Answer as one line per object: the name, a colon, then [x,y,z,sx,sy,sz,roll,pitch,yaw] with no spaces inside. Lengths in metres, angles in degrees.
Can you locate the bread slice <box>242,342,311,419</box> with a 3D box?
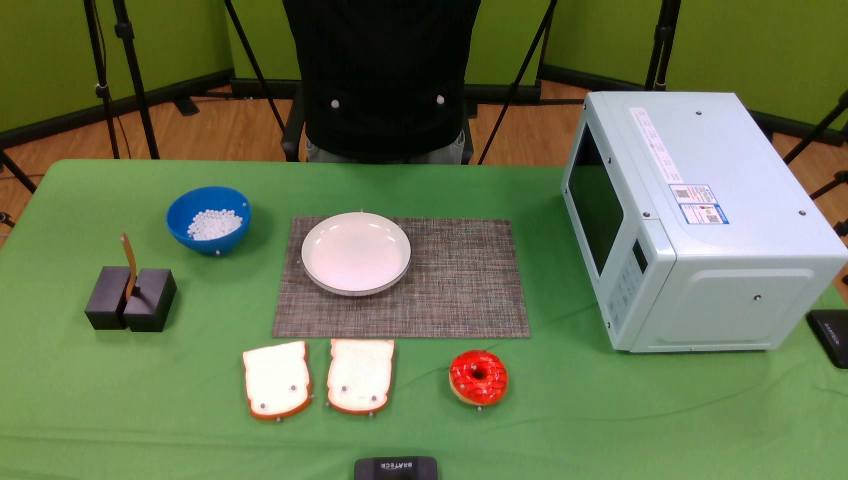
bread slice: [-0.234,0.223,0.970,0.105,0.019,0.130,-10,46,-13]

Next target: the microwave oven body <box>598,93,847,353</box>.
microwave oven body: [0.475,-0.041,1.110,0.326,0.261,0.438,-1,45,-4]

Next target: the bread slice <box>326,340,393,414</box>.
bread slice: [-0.104,0.219,0.983,0.107,0.018,0.133,0,45,-4]

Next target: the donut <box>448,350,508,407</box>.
donut: [0.087,0.223,0.977,0.099,0.048,0.098,4,46,-4]

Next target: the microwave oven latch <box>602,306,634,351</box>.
microwave oven latch: [0.332,0.153,1.044,0.030,0.029,0.078,0,45,-4]

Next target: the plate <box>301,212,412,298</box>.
plate: [-0.127,0.031,1.145,0.208,0.039,0.206,2,46,-2]

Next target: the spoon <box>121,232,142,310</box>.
spoon: [-0.479,0.051,0.994,0.022,0.194,0.041,12,46,-12]

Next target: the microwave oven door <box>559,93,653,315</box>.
microwave oven door: [0.327,-0.074,1.123,0.039,0.245,0.353,-1,46,-5]

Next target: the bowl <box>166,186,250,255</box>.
bowl: [-0.403,-0.024,1.154,0.151,0.077,0.150,2,46,-2]
